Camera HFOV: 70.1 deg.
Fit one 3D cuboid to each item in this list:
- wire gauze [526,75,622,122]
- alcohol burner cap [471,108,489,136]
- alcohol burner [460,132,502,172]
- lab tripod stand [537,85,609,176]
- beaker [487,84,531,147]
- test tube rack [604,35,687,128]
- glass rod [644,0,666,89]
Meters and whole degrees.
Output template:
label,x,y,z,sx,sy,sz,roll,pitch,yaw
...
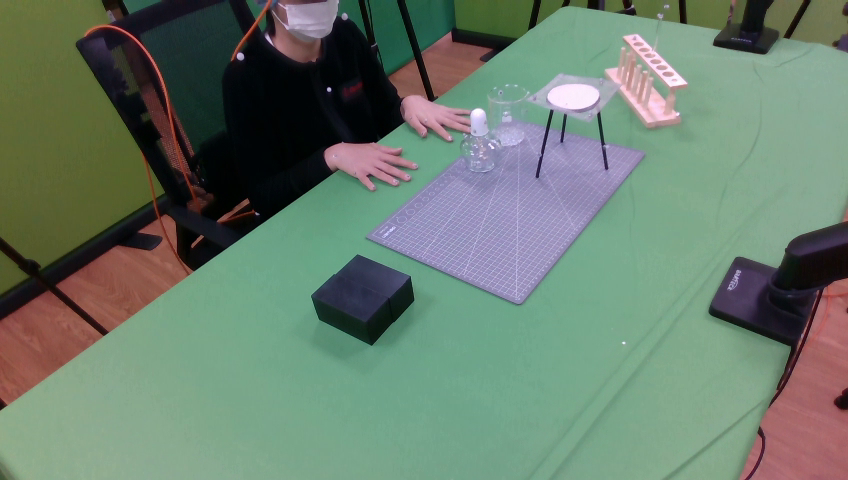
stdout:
label,x,y,z,sx,sy,sz,roll,pitch,yaw
wire gauze,0.255,-0.248,1.030,0.124,0.011,0.122,24,51,32
alcohol burner cap,0.098,-0.211,1.074,0.034,0.048,0.033,-6,42,6
alcohol burner,0.102,-0.185,1.098,0.078,0.119,0.077,-6,40,5
lab tripod stand,0.259,-0.192,1.068,0.148,0.132,0.147,-4,42,4
beaker,0.163,-0.237,1.162,0.084,0.101,0.073,-10,41,-3
test tube rack,0.447,-0.330,1.241,0.067,0.085,0.241,-9,41,-2
glass rod,0.465,-0.397,1.215,0.008,0.200,0.008,0,39,1
